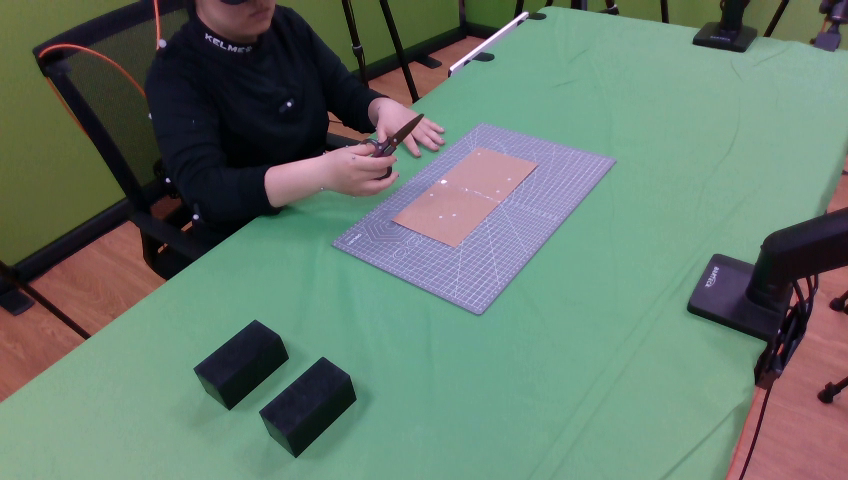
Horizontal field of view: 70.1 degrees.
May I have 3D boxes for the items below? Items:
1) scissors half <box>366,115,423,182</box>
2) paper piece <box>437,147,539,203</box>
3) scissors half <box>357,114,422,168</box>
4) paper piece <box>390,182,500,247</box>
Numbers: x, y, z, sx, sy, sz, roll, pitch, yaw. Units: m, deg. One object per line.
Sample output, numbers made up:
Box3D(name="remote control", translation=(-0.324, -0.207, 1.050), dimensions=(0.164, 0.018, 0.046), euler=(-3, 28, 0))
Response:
Box3D(name="scissors half", translation=(-0.047, -0.147, 0.982), dimensions=(0.013, 0.175, 0.040), euler=(-29, 77, -44))
Box3D(name="paper piece", translation=(0.117, -0.122, 1.104), dimensions=(0.135, 0.009, 0.138), euler=(26, 49, 29))
Box3D(name="scissors half", translation=(-0.058, -0.164, 0.982), dimensions=(0.174, 0.040, 0.013), euler=(-24, 9, 45))
Box3D(name="paper piece", translation=(0.037, -0.048, 1.027), dimensions=(0.134, 0.004, 0.136), euler=(24, 48, 30))
